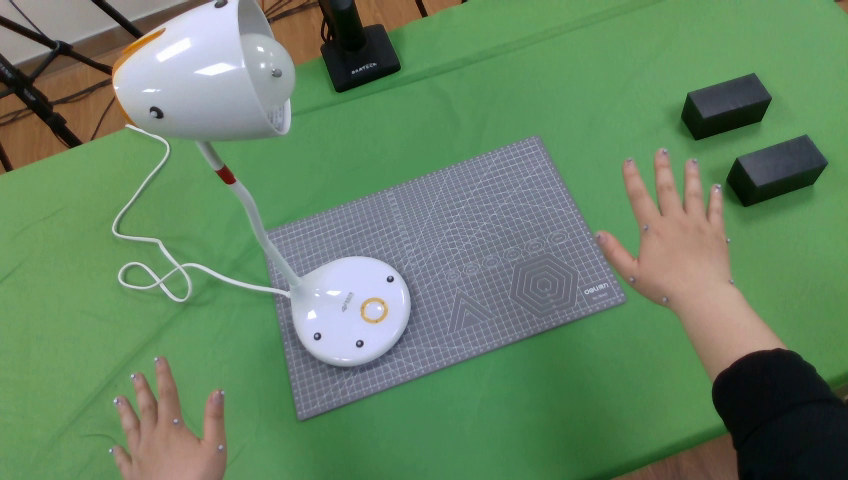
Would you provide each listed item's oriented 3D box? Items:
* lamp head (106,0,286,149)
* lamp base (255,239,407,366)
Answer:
[{"bbox_3d":[-0.183,-0.124,0.488,0.123,0.113,0.111,-15,60,8],"label":"lamp head"},{"bbox_3d":[-0.127,0.056,0.757,0.178,0.182,0.159,3,62,15],"label":"lamp base"}]
